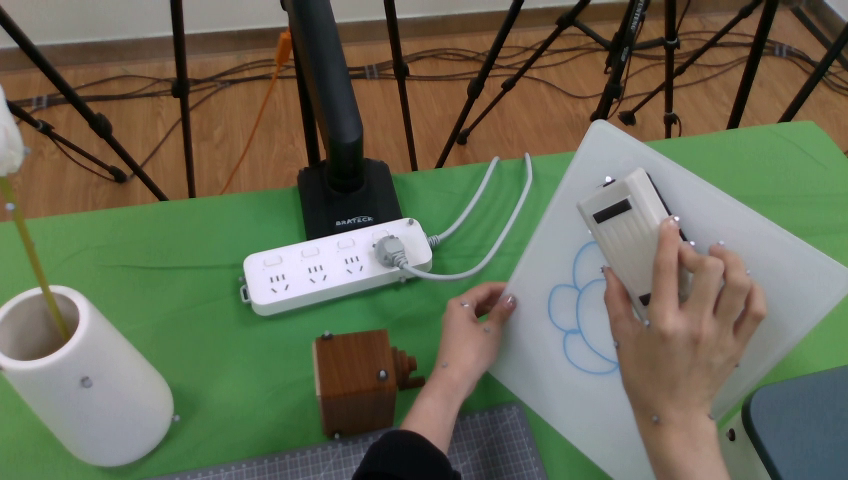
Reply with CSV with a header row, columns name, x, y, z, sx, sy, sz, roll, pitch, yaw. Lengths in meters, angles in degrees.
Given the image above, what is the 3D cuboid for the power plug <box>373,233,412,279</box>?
name,x,y,z,sx,sy,sz,roll,pitch,yaw
power plug,-0.037,0.025,0.677,0.035,0.053,0.072,-5,56,-9

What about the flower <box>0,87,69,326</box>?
name,x,y,z,sx,sy,sz,roll,pitch,yaw
flower,-0.274,0.054,0.457,0.038,0.364,0.043,-19,40,-26

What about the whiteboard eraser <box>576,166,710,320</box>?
name,x,y,z,sx,sy,sz,roll,pitch,yaw
whiteboard eraser,0.169,0.002,0.468,0.042,0.055,0.112,-29,90,-51

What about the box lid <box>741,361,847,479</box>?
name,x,y,z,sx,sy,sz,roll,pitch,yaw
box lid,0.417,0.244,0.418,0.264,0.015,0.367,-9,55,-12

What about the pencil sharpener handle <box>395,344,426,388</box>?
name,x,y,z,sx,sy,sz,roll,pitch,yaw
pencil sharpener handle,-0.012,0.122,0.577,0.031,0.068,0.035,-6,55,-10

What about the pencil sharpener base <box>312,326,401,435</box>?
name,x,y,z,sx,sy,sz,roll,pitch,yaw
pencil sharpener base,-0.063,0.135,0.577,0.077,0.108,0.060,-6,54,-10

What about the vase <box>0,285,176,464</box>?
name,x,y,z,sx,sy,sz,roll,pitch,yaw
vase,-0.282,0.118,0.512,0.098,0.201,0.097,2,54,-2

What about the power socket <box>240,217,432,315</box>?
name,x,y,z,sx,sy,sz,roll,pitch,yaw
power socket,-0.097,0.028,0.698,0.227,0.033,0.071,-13,57,-15

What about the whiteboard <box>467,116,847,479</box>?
name,x,y,z,sx,sy,sz,roll,pitch,yaw
whiteboard,0.212,0.053,0.579,0.215,0.307,0.144,39,41,22

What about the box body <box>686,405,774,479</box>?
name,x,y,z,sx,sy,sz,roll,pitch,yaw
box body,0.411,0.290,0.477,0.255,0.161,0.360,-9,56,-12
